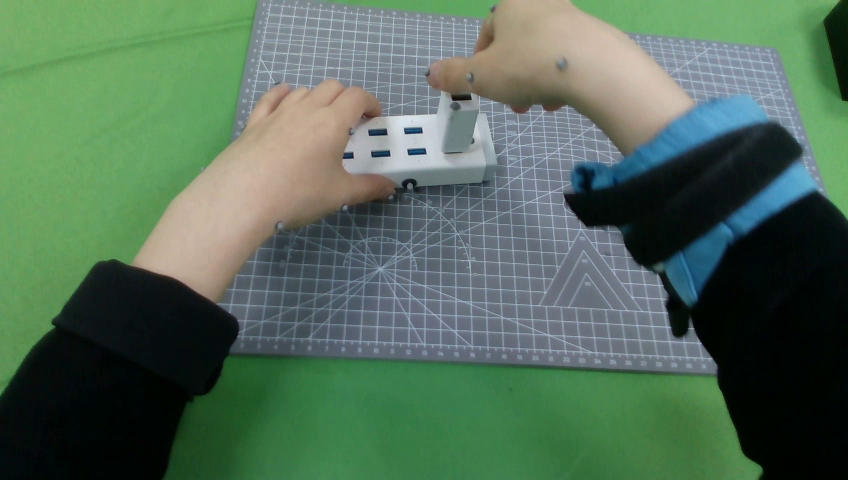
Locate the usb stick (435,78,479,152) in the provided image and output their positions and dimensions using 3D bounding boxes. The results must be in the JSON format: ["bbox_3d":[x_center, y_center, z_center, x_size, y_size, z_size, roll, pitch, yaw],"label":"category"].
[{"bbox_3d":[0.020,-0.079,0.403,0.021,0.059,0.027,-5,61,-9],"label":"usb stick"}]

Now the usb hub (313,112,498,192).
[{"bbox_3d":[-0.014,-0.064,0.427,0.125,0.025,0.049,-4,62,-10],"label":"usb hub"}]
